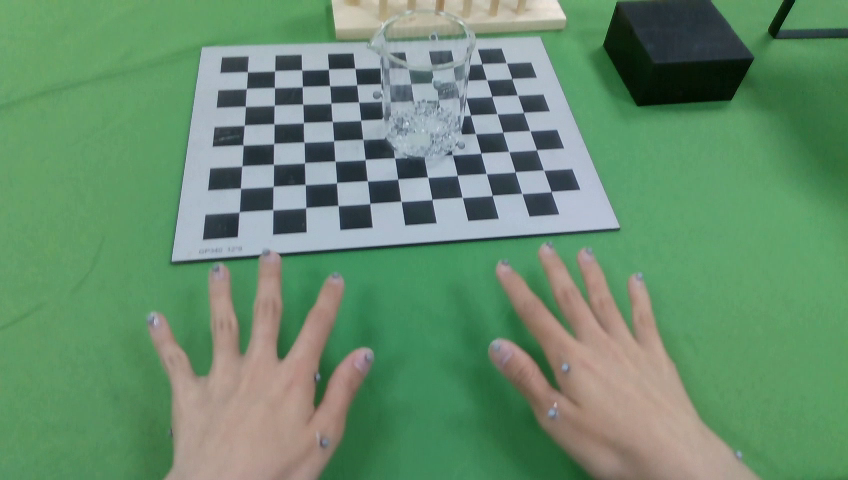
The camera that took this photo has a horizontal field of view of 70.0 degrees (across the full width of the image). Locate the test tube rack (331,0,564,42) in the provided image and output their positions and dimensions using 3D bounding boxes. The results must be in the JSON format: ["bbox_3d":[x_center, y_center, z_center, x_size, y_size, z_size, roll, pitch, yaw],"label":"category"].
[{"bbox_3d":[0.026,-0.265,0.620,0.243,0.086,0.066,-6,53,-8],"label":"test tube rack"}]

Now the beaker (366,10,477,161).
[{"bbox_3d":[-0.003,-0.121,0.494,0.084,0.101,0.073,-4,52,-6],"label":"beaker"}]

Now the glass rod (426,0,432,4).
[{"bbox_3d":[0.021,-0.314,0.573,0.008,0.201,0.008,6,54,-8],"label":"glass rod"}]
